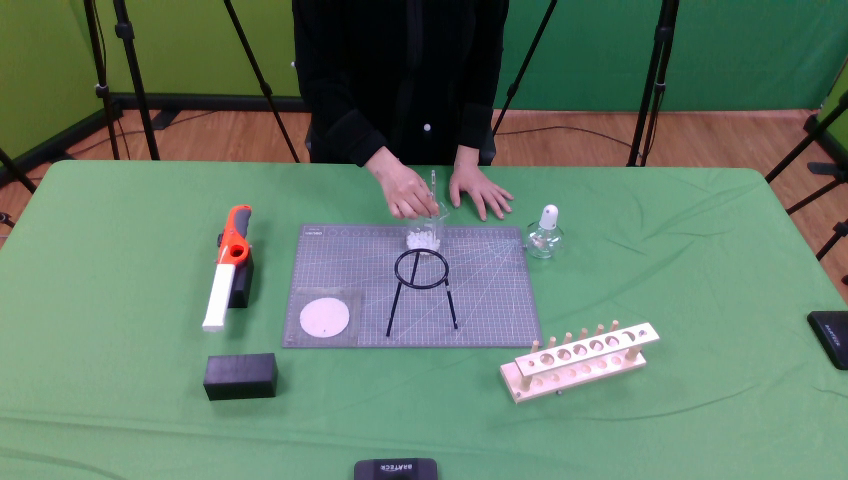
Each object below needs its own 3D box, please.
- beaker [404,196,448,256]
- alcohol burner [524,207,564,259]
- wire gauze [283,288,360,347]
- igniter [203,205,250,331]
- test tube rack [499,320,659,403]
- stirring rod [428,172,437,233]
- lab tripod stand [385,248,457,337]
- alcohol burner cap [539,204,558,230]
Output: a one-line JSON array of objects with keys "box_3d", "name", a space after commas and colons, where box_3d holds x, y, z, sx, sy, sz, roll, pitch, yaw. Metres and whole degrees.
[{"box_3d": [0.001, -0.024, 1.164, 0.084, 0.101, 0.073, 6, 46, 0], "name": "beaker"}, {"box_3d": [0.236, -0.020, 1.174, 0.078, 0.120, 0.077, 1, 48, -1], "name": "alcohol burner"}, {"box_3d": [-0.178, 0.132, 1.063, 0.125, 0.011, 0.120, 2, 46, 1], "name": "wire gauze"}, {"box_3d": [-0.345, 0.039, 1.065, 0.057, 0.025, 0.274, 2, 49, -6], "name": "igniter"}, {"box_3d": [0.252, 0.187, 0.994, 0.243, 0.085, 0.066, -12, 48, -15], "name": "test tube rack"}, {"box_3d": [0.015, -0.065, 1.113, 0.014, 0.177, 0.006, -16, 57, -11], "name": "stirring rod"}, {"box_3d": [-0.010, 0.087, 1.032, 0.148, 0.132, 0.147, 1, 45, -1], "name": "lab tripod stand"}, {"box_3d": [0.239, -0.045, 1.148, 0.034, 0.048, 0.033, 1, 42, -1], "name": "alcohol burner cap"}]
